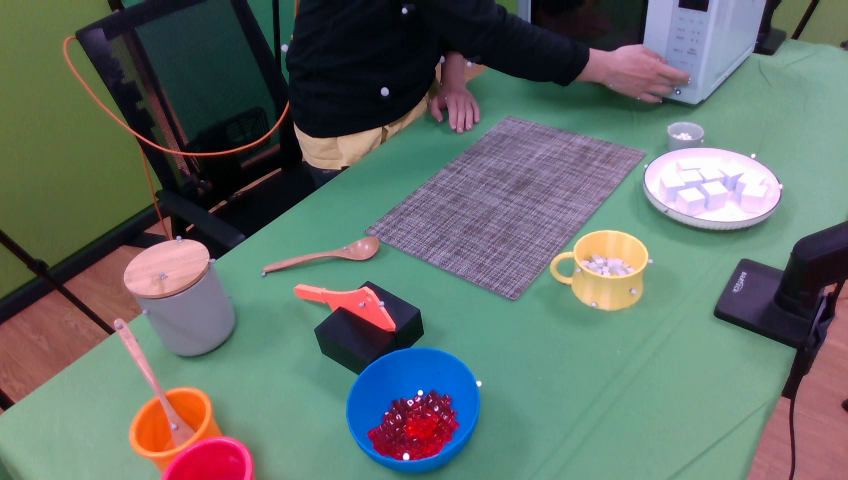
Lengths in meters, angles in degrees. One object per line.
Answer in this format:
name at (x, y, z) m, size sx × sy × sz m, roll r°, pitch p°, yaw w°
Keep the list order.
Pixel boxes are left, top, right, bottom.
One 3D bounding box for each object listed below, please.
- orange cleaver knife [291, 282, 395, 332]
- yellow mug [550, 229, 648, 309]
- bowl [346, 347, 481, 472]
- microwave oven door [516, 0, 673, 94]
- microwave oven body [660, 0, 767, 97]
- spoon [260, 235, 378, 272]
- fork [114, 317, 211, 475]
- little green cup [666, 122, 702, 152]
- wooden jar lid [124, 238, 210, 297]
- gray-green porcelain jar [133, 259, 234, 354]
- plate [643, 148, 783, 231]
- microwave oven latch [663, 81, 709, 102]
orange cleaver knife at (-0.116, 0.091, 0.835) m, size 0.209 × 0.077 × 0.012 m, roll 1°, pitch 32°, yaw 47°
yellow mug at (0.245, 0.039, 0.857) m, size 0.130 × 0.064 × 0.099 m, roll 1°, pitch 42°, yaw 11°
bowl at (-0.008, 0.205, 0.691) m, size 0.151 × 0.077 × 0.150 m, roll -4°, pitch 40°, yaw 4°
microwave oven door at (0.344, -0.458, 1.257) m, size 0.353 × 0.245 × 0.039 m, roll 26°, pitch 52°, yaw 33°
microwave oven body at (0.473, -0.516, 1.313) m, size 0.438 × 0.261 × 0.327 m, roll 26°, pitch 51°, yaw 34°
spoon at (-0.168, 0.024, 0.966) m, size 0.194 × 0.022 × 0.041 m, roll -10°, pitch 58°, yaw -3°
fork at (-0.309, 0.180, 0.708) m, size 0.028 × 0.018 × 0.207 m, roll -29°, pitch 89°, yaw -26°
little green cup at (0.472, -0.183, 1.102) m, size 0.061 × 0.039 × 0.061 m, roll -5°, pitch 41°, yaw 5°
wooden jar lid at (-0.335, 0.039, 0.794) m, size 0.108 × 0.021 × 0.108 m, roll -2°, pitch 40°, yaw 2°
gray-green porcelain jar at (-0.328, 0.087, 0.836) m, size 0.106 × 0.127 × 0.105 m, roll -4°, pitch 41°, yaw 4°
plate at (0.464, -0.080, 0.986) m, size 0.207 × 0.039 × 0.206 m, roll -4°, pitch 41°, yaw 4°
microwave oven latch at (0.519, -0.299, 1.202) m, size 0.030 × 0.029 × 0.078 m, roll -36°, pitch 48°, yaw -28°
